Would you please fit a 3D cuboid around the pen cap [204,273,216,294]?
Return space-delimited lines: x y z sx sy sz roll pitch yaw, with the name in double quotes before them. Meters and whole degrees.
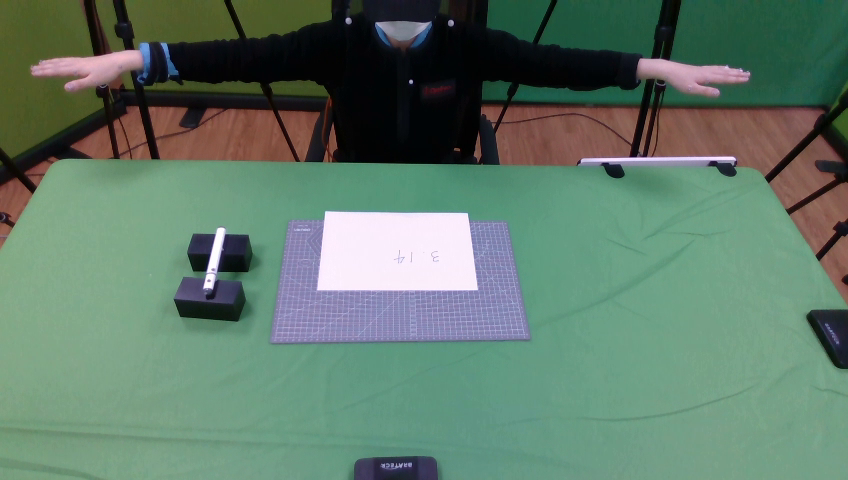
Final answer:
"pen cap" -0.364 0.075 1.032 0.017 0.017 0.038 -1 45 -6

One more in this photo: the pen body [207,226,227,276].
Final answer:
"pen body" -0.369 0.030 1.076 0.017 0.017 0.143 0 46 -5
